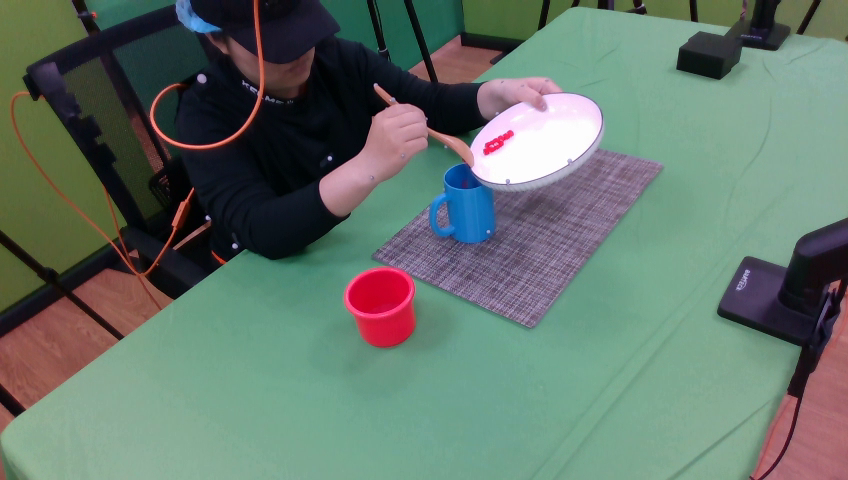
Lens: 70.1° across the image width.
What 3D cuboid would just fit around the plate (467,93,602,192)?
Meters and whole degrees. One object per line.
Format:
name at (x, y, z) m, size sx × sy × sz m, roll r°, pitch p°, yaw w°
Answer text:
plate at (0.167, -0.142, 0.912) m, size 0.207 × 0.039 × 0.206 m, roll -18°, pitch 41°, yaw 17°

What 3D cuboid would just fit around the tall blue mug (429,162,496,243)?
tall blue mug at (0.067, -0.051, 0.960) m, size 0.077 × 0.108 × 0.107 m, roll 18°, pitch 47°, yaw 27°

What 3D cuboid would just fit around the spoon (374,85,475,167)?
spoon at (0.004, -0.164, 0.879) m, size 0.195 × 0.021 × 0.041 m, roll 29°, pitch 38°, yaw -25°
